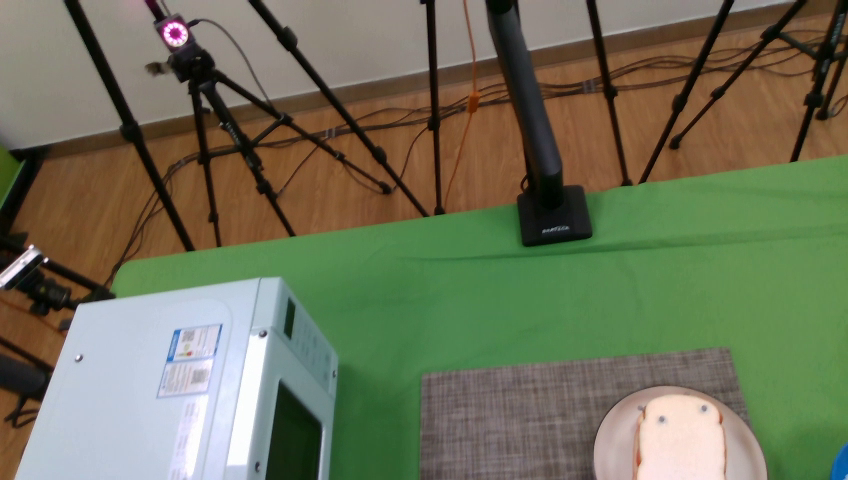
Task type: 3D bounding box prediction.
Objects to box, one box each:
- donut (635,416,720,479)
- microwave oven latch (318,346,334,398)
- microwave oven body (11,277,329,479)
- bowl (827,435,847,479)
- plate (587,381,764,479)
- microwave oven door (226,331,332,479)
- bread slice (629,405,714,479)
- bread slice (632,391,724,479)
[{"bbox_3d":[0.312,0.268,0.750,0.099,0.049,0.098,-6,56,9],"label":"donut"},{"bbox_3d":[-0.157,0.207,0.944,0.030,0.030,0.078,-9,53,8],"label":"microwave oven latch"},{"bbox_3d":[-0.318,0.314,0.785,0.326,0.263,0.437,-9,53,8],"label":"microwave oven body"},{"bbox_3d":[0.535,0.295,0.687,0.151,0.077,0.150,-7,53,10],"label":"bowl"},{"bbox_3d":[0.316,0.285,0.776,0.207,0.039,0.205,-7,53,10],"label":"plate"},{"bbox_3d":[-0.175,0.321,0.734,0.039,0.246,0.352,-9,52,9],"label":"microwave oven door"},{"bbox_3d":[0.316,0.279,0.779,0.107,0.018,0.133,0,54,14],"label":"bread slice"},{"bbox_3d":[0.306,0.246,0.734,0.104,0.019,0.130,-1,52,22],"label":"bread slice"}]
